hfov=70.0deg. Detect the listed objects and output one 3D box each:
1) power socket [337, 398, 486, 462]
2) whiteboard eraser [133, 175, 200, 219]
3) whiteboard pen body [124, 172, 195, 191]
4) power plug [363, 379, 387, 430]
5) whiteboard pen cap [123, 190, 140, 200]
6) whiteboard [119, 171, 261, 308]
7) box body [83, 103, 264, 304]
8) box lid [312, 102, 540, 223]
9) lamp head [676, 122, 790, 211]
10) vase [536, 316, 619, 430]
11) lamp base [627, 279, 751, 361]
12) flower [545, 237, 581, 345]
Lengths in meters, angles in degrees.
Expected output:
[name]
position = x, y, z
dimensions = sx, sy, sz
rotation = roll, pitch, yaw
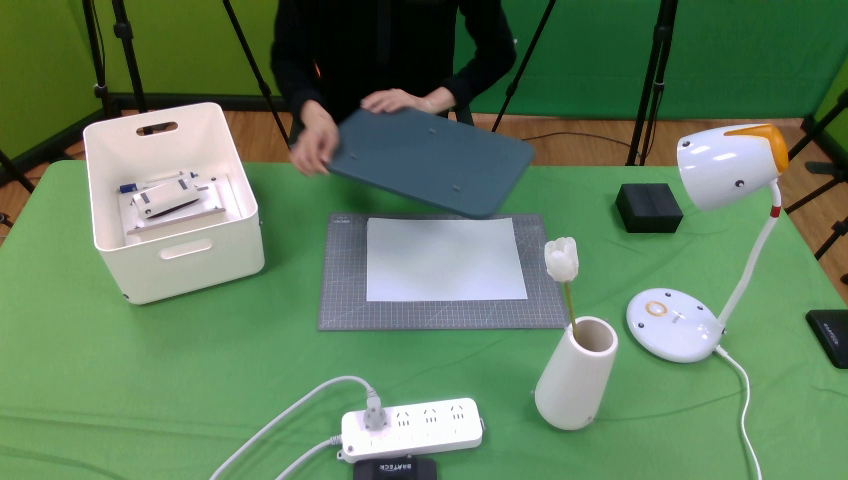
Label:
[power socket]
position = -0.018, 0.285, 0.914
dimensions = 0.227, 0.033, 0.071
rotation = -4, 46, -8
[whiteboard eraser]
position = -0.499, -0.082, 1.177
dimensions = 0.113, 0.042, 0.055
rotation = -26, 60, -25
[whiteboard pen body]
position = -0.553, -0.120, 1.269
dimensions = 0.141, 0.017, 0.017
rotation = -16, 50, -18
[power plug]
position = -0.071, 0.252, 0.911
dimensions = 0.035, 0.053, 0.072
rotation = 3, 40, 0
[whiteboard pen cap]
position = -0.592, -0.092, 1.232
dimensions = 0.033, 0.018, 0.018
rotation = -14, 49, -17
[whiteboard]
position = -0.464, -0.060, 1.137
dimensions = 0.217, 0.144, 0.303
rotation = -19, 51, -17
[box body]
position = -0.465, -0.076, 1.137
dimensions = 0.254, 0.161, 0.361
rotation = -16, 49, -19
[box lid]
position = 0.009, -0.155, 1.124
dimensions = 0.370, 0.015, 0.262
rotation = 19, 45, 19
[lamp head]
position = 0.423, -0.104, 0.819
dimensions = 0.122, 0.113, 0.112
rotation = -13, 33, 40
[vase]
position = 0.229, 0.200, 0.901
dimensions = 0.098, 0.201, 0.097
rotation = 3, 46, -3
[lamp base]
position = 0.460, 0.100, 1.027
dimensions = 0.178, 0.181, 0.160
rotation = 27, 51, 17
[flower]
position = 0.213, 0.137, 0.846
dimensions = 0.038, 0.364, 0.044
rotation = 21, 55, 40
